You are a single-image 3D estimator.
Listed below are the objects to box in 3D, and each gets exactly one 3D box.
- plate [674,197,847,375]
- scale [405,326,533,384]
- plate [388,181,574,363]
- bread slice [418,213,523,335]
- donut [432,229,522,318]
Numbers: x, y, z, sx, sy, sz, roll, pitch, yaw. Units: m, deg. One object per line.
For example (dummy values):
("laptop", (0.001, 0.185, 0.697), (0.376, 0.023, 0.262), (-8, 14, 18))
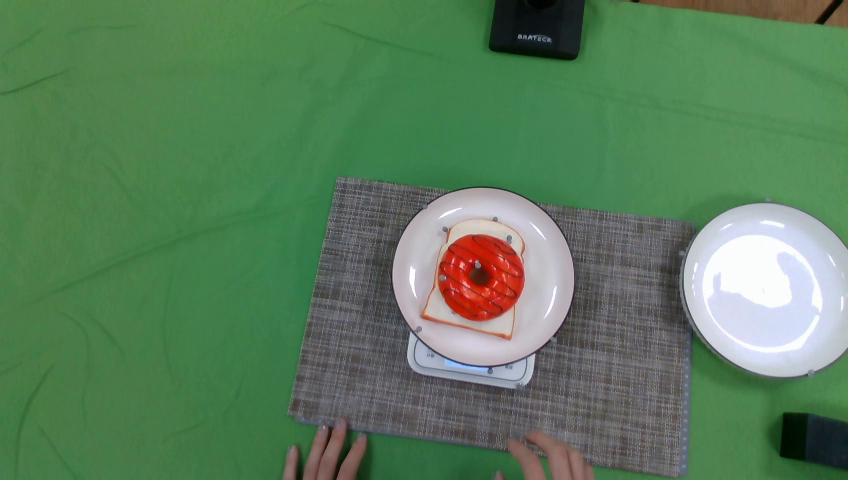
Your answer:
("plate", (0.396, 0.054, 0.713), (0.207, 0.039, 0.206), (0, 76, 1))
("scale", (0.063, 0.061, 0.719), (0.148, 0.032, 0.200), (8, 77, 4))
("plate", (0.064, 0.035, 0.692), (0.209, 0.038, 0.208), (0, 77, 1))
("bread slice", (0.058, 0.033, 0.694), (0.105, 0.019, 0.131), (13, 77, 3))
("donut", (0.058, 0.036, 0.663), (0.099, 0.048, 0.098), (0, 79, -1))
